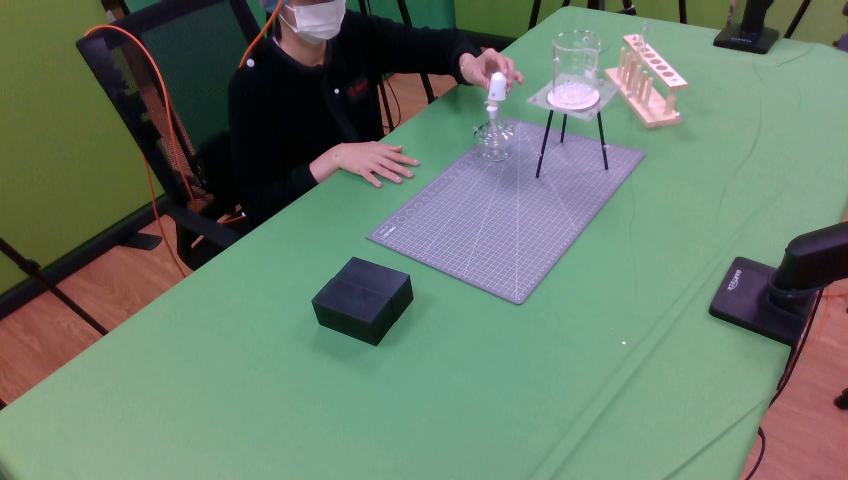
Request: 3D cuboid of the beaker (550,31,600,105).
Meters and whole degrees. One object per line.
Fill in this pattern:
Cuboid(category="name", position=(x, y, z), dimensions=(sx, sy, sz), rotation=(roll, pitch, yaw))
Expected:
Cuboid(category="beaker", position=(0.250, -0.281, 0.996), dimensions=(0.074, 0.101, 0.083), rotation=(-37, 49, -27))

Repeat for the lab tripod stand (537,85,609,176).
Cuboid(category="lab tripod stand", position=(0.259, -0.192, 1.068), dimensions=(0.148, 0.132, 0.147), rotation=(-4, 43, 4))

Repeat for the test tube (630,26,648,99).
Cuboid(category="test tube", position=(0.426, -0.350, 1.199), dimensions=(0.017, 0.151, 0.017), rotation=(-4, 42, 4))

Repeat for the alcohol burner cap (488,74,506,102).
Cuboid(category="alcohol burner cap", position=(0.131, -0.270, 1.072), dimensions=(0.034, 0.048, 0.033), rotation=(1, 33, 0))

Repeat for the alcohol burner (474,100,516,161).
Cuboid(category="alcohol burner", position=(0.131, -0.208, 1.121), dimensions=(0.078, 0.119, 0.077), rotation=(-6, 40, 5))

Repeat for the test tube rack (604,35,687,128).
Cuboid(category="test tube rack", position=(0.447, -0.330, 1.241), dimensions=(0.067, 0.085, 0.241), rotation=(-9, 41, -2))

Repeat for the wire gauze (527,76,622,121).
Cuboid(category="wire gauze", position=(0.255, -0.247, 1.030), dimensions=(0.124, 0.011, 0.122), rotation=(23, 49, 34))
